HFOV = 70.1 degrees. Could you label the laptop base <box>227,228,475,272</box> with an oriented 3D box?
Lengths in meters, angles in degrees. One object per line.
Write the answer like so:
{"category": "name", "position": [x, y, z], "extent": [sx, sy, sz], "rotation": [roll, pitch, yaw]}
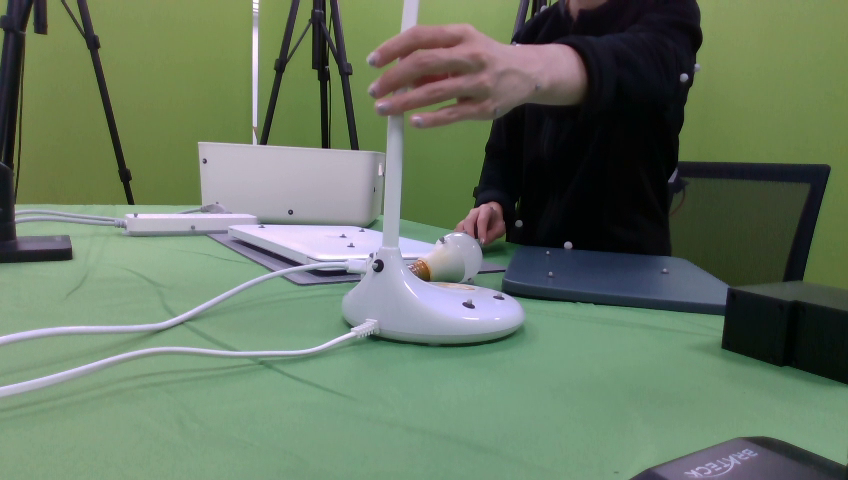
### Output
{"category": "laptop base", "position": [-0.122, 0.012, 0.889], "extent": [0.237, 0.023, 0.352], "rotation": [1, 7, -35]}

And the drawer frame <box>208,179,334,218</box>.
{"category": "drawer frame", "position": [-0.327, -0.093, 1.328], "extent": [0.213, 0.082, 0.202], "rotation": [0, 5, 6]}

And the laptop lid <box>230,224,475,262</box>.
{"category": "laptop lid", "position": [-0.119, 0.000, 0.889], "extent": [0.243, 0.013, 0.355], "rotation": [1, 7, -33]}

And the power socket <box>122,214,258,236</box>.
{"category": "power socket", "position": [-0.398, -0.028, 1.049], "extent": [0.228, 0.032, 0.072], "rotation": [-3, 8, -34]}

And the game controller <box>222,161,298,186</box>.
{"category": "game controller", "position": [-0.357, -0.144, 1.321], "extent": [0.156, 0.051, 0.097], "rotation": [1, 1, -16]}

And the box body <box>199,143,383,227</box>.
{"category": "box body", "position": [-0.276, -0.124, 1.334], "extent": [0.364, 0.160, 0.254], "rotation": [3, 7, 1]}

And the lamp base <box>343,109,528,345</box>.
{"category": "lamp base", "position": [0.006, -0.015, 0.505], "extent": [0.160, 0.180, 0.180], "rotation": [6, 11, 29]}

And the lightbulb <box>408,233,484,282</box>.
{"category": "lightbulb", "position": [0.021, 0.028, 0.693], "extent": [0.108, 0.059, 0.059], "rotation": [-20, 19, -31]}

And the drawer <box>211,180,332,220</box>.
{"category": "drawer", "position": [-0.328, -0.095, 1.332], "extent": [0.212, 0.073, 0.194], "rotation": [5, 8, 6]}

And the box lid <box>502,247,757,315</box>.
{"category": "box lid", "position": [0.244, 0.044, 0.793], "extent": [0.263, 0.015, 0.372], "rotation": [4, 7, 11]}

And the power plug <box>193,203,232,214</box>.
{"category": "power plug", "position": [-0.394, -0.042, 1.139], "extent": [0.072, 0.052, 0.035], "rotation": [-13, 2, 31]}

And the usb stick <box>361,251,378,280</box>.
{"category": "usb stick", "position": [-0.051, 0.033, 0.656], "extent": [0.027, 0.021, 0.059], "rotation": [4, -27, -21]}
